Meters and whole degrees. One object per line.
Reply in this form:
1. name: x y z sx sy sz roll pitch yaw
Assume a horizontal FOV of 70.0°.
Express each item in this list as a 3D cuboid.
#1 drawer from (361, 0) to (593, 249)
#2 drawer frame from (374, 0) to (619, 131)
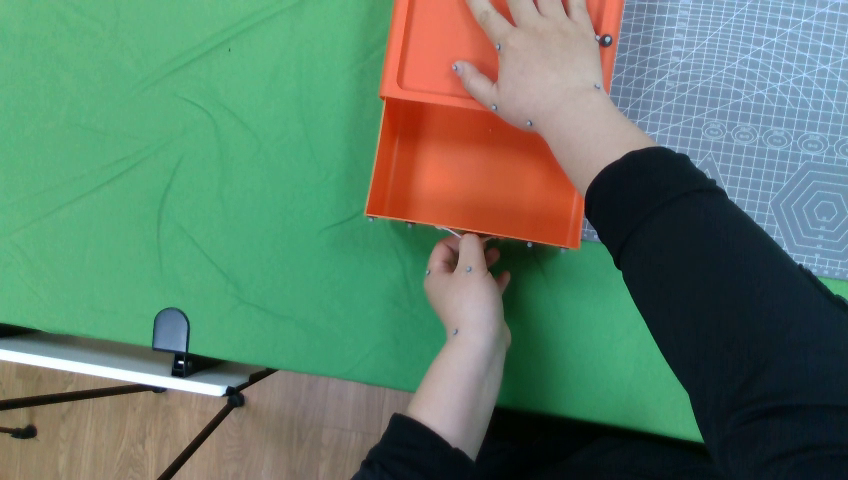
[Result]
1. drawer: 0.057 -0.106 0.558 0.194 0.073 0.211 9 92 9
2. drawer frame: 0.072 -0.214 0.555 0.201 0.083 0.213 9 93 9
